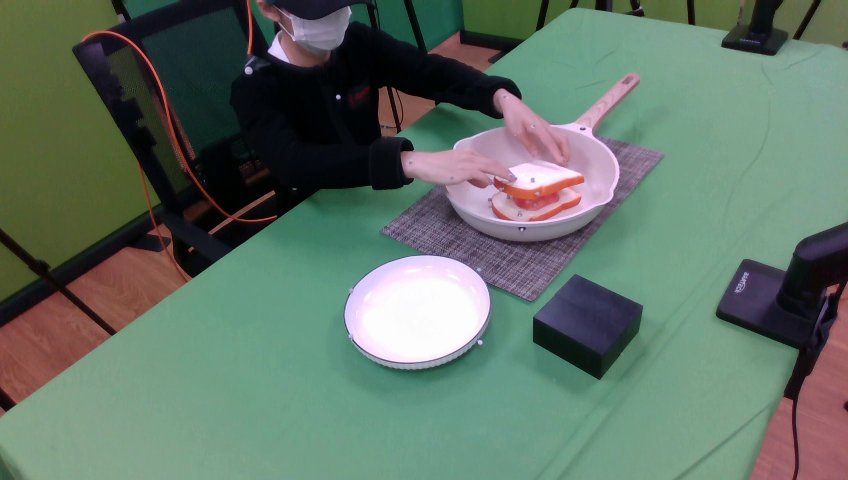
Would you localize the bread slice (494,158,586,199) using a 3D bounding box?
[{"bbox_3d":[0.183,-0.100,0.984,0.132,0.019,0.104,-21,33,-31],"label":"bread slice"}]

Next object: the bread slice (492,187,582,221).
[{"bbox_3d":[0.183,-0.067,1.016,0.135,0.018,0.106,-29,43,-23],"label":"bread slice"}]

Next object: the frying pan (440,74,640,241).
[{"bbox_3d":[0.245,-0.161,1.058,0.304,0.103,0.489,30,61,35],"label":"frying pan"}]

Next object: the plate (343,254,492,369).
[{"bbox_3d":[-0.008,0.100,0.847,0.207,0.039,0.206,-4,40,4],"label":"plate"}]
